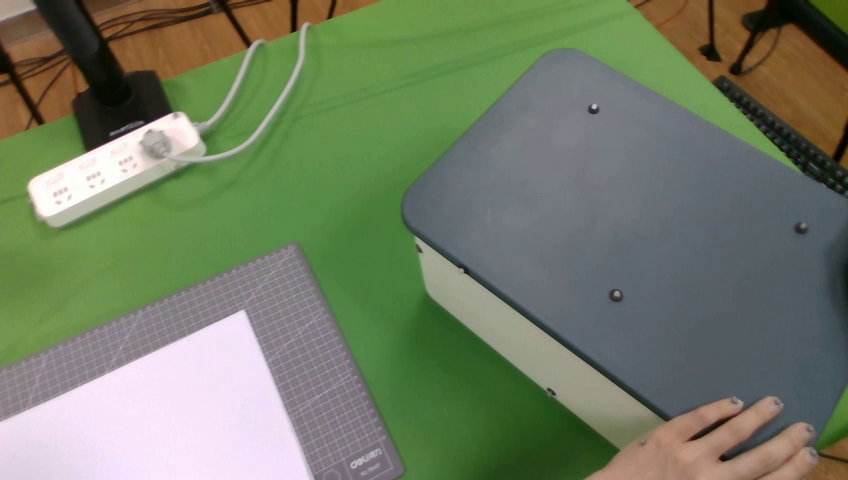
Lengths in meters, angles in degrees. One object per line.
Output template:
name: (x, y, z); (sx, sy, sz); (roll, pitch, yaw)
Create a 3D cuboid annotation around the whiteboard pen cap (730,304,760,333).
whiteboard pen cap: (0.344, 0.085, 0.651); (0.018, 0.018, 0.033); (40, 69, 22)

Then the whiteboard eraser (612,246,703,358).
whiteboard eraser: (0.240, 0.063, 0.623); (0.055, 0.042, 0.112); (25, 63, 20)

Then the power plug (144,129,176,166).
power plug: (-0.325, -0.105, 0.752); (0.035, 0.053, 0.072); (-20, 68, -10)

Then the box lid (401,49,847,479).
box lid: (0.188, -0.012, 0.517); (0.369, 0.015, 0.263); (37, 69, 19)

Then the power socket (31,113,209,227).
power socket: (-0.383, -0.091, 0.771); (0.227, 0.033, 0.071); (-29, 64, -15)

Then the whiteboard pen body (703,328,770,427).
whiteboard pen body: (0.329, 0.139, 0.630); (0.017, 0.017, 0.140); (37, 63, 21)

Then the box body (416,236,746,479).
box body: (0.198, 0.038, 0.608); (0.361, 0.162, 0.254); (37, 68, 20)

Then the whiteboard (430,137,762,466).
whiteboard: (0.191, 0.034, 0.624); (0.303, 0.145, 0.217); (36, 64, 20)
